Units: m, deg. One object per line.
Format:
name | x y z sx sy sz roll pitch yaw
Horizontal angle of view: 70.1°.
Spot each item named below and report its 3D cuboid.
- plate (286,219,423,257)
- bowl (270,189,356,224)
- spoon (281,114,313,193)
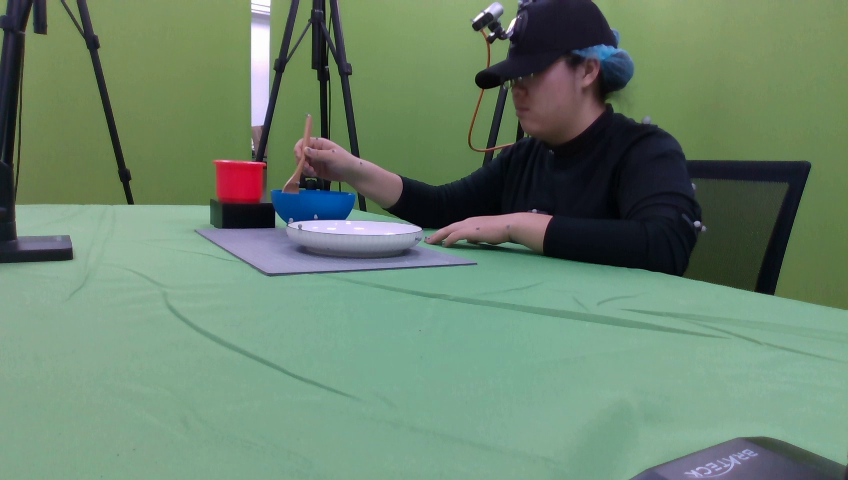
plate | -0.105 -0.003 0.922 0.208 0.039 0.207 3 7 0
bowl | -0.198 -0.049 1.080 0.151 0.077 0.151 3 7 0
spoon | -0.228 -0.144 1.111 0.021 0.193 0.042 3 -17 37
